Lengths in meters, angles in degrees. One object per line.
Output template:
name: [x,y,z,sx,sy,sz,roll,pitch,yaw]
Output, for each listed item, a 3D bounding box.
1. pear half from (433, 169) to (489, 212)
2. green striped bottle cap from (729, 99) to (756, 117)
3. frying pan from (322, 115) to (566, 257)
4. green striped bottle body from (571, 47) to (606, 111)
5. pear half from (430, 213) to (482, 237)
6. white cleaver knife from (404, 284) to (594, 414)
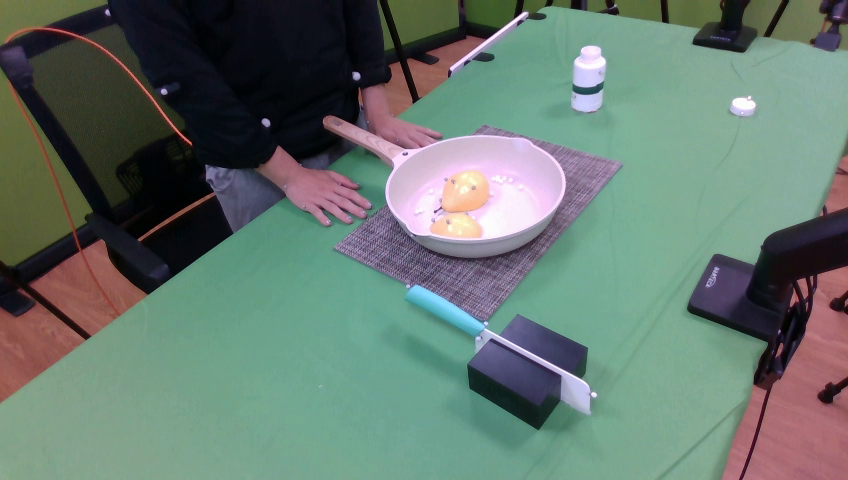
pear half: [0.057,-0.083,1.024,0.110,0.056,0.075,-34,42,-25]
green striped bottle cap: [0.623,-0.259,1.182,0.044,0.020,0.044,-4,40,4]
frying pan: [0.004,-0.121,1.039,0.484,0.103,0.308,31,52,25]
green striped bottle body: [0.333,-0.327,1.224,0.063,0.120,0.063,-4,41,4]
pear half: [0.050,-0.024,0.973,0.087,0.031,0.070,14,40,18]
white cleaver knife: [0.084,0.135,0.764,0.284,0.066,0.021,28,46,31]
